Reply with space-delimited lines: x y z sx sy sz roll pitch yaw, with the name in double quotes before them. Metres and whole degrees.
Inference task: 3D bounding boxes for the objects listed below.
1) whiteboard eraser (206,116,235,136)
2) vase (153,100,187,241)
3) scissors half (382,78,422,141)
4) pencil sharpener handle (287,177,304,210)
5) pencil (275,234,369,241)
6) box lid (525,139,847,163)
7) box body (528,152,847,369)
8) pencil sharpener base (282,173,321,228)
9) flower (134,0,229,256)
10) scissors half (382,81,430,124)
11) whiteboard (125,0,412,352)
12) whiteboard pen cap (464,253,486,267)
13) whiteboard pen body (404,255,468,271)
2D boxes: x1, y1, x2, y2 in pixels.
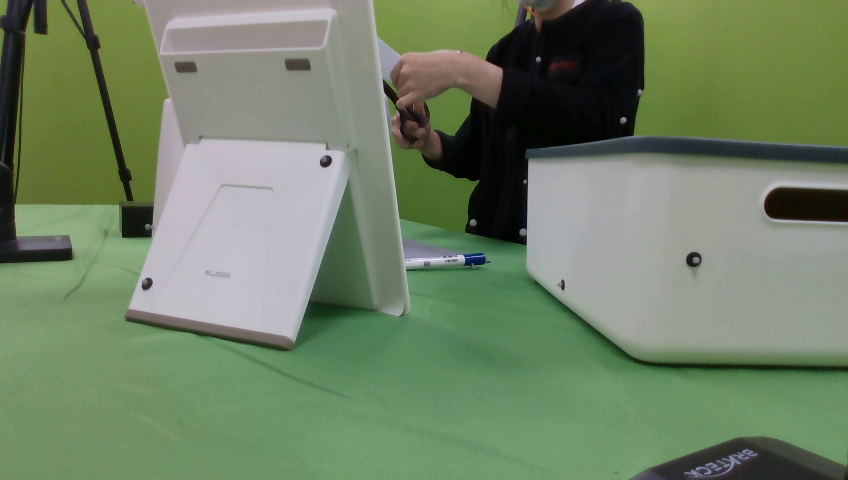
"whiteboard eraser" -0.450 -0.252 1.335 0.056 0.042 0.112 1 7 -22
"vase" -0.278 -0.066 0.736 0.098 0.200 0.098 2 9 0
"scissors half" -0.050 -0.234 1.061 0.012 0.040 0.176 20 -23 39
"pencil sharpener handle" -0.269 -0.096 1.257 0.036 0.067 0.030 -8 8 -27
"pencil" -0.169 -0.006 1.036 0.195 0.012 0.012 -2 9 -45
"box lid" 0.261 -0.078 0.580 0.264 0.015 0.371 2 7 -4
"box body" 0.257 -0.005 0.591 0.254 0.160 0.363 2 7 -4
"pencil sharpener base" -0.247 -0.080 1.212 0.061 0.107 0.076 -2 5 -28
"flower" -0.282 -0.147 0.713 0.038 0.362 0.044 -23 24 -31
"scissors half" -0.040 -0.252 1.065 0.013 0.040 0.176 14 -6 38
"whiteboard" -0.151 -0.049 0.472 0.216 0.305 0.144 6 27 24
"whiteboard pen cap" 0.066 0.027 0.818 0.033 0.018 0.018 -6 10 -24
"whiteboard pen body" 0.013 0.030 0.792 0.141 0.017 0.017 -3 9 -24
